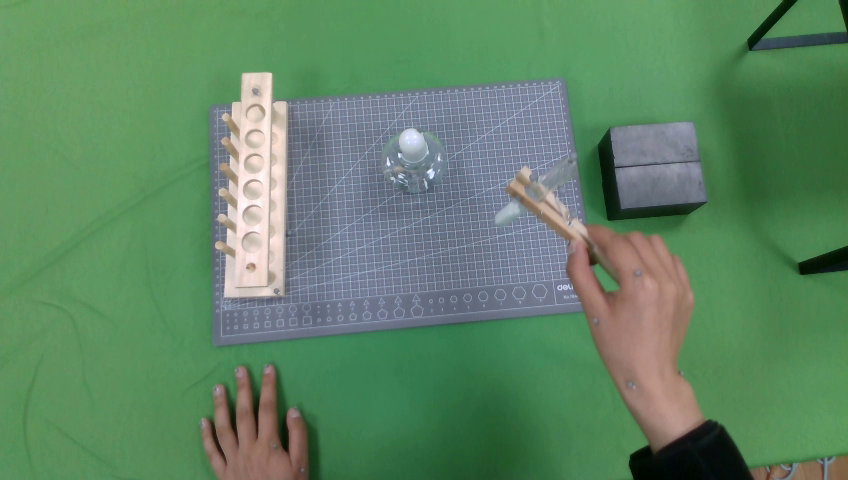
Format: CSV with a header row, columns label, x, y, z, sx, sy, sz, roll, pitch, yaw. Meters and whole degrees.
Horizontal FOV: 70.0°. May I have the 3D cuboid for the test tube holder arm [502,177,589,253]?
label,x,y,z,sx,sy,sz,roll,pitch,yaw
test tube holder arm,0.102,-0.020,0.502,0.088,0.015,0.010,38,72,-4

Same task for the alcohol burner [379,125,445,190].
label,x,y,z,sx,sy,sz,roll,pitch,yaw
alcohol burner,-0.014,-0.099,0.690,0.078,0.119,0.077,0,79,0

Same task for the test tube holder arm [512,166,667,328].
label,x,y,z,sx,sy,sz,roll,pitch,yaw
test tube holder arm,0.139,0.007,0.506,0.178,0.015,0.013,45,73,-2

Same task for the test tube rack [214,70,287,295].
label,x,y,z,sx,sy,sz,roll,pitch,yaw
test tube rack,-0.201,-0.063,0.693,0.067,0.085,0.241,-1,78,-1

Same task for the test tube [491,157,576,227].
label,x,y,z,sx,sy,sz,roll,pitch,yaw
test tube,0.086,-0.036,0.510,0.017,0.150,0.017,3,76,-13

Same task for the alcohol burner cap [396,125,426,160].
label,x,y,z,sx,sy,sz,roll,pitch,yaw
alcohol burner cap,-0.015,-0.107,0.655,0.034,0.048,0.034,0,83,1
